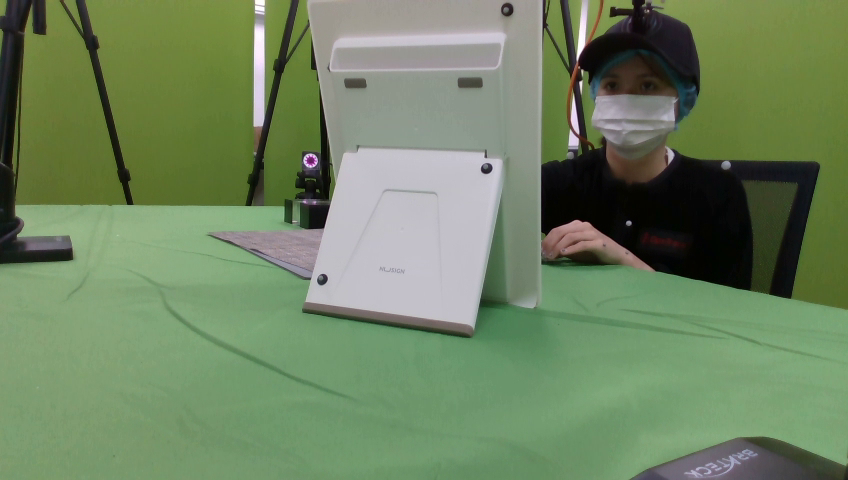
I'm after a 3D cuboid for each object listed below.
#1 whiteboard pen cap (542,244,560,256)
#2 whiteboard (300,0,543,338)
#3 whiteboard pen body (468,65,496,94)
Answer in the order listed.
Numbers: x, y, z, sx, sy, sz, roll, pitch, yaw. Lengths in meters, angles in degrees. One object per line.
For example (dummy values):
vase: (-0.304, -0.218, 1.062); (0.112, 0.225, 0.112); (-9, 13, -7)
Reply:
whiteboard pen cap: (0.187, 0.015, 0.907); (0.033, 0.018, 0.018); (3, 7, 16)
whiteboard: (-0.020, -0.050, 0.523); (0.216, 0.305, 0.144); (6, 27, 22)
whiteboard pen body: (0.058, -0.159, 0.602); (0.017, 0.017, 0.141); (4, 23, 11)
